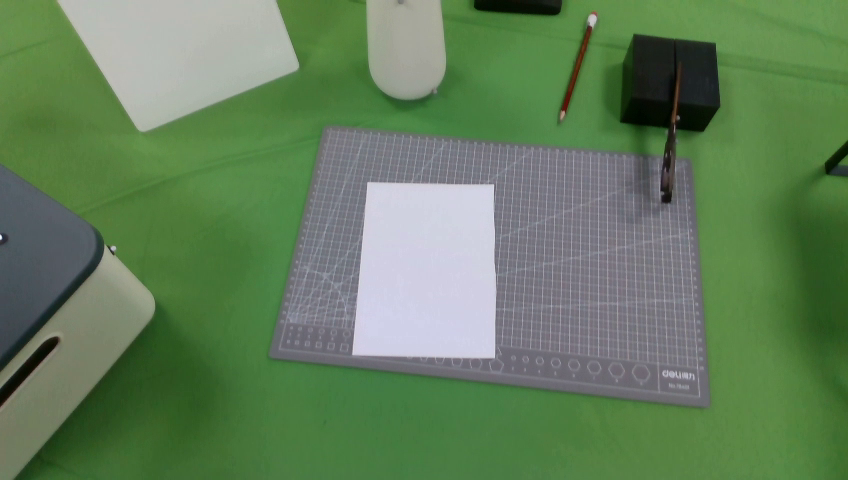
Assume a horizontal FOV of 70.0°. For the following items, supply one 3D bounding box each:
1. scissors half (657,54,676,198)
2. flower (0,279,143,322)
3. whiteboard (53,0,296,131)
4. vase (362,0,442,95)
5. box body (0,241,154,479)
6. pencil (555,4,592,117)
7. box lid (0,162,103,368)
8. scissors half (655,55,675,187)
[{"bbox_3d":[0.285,-0.134,0.704,0.012,0.040,0.175,4,83,28],"label":"scissors half"},{"bbox_3d":[-0.474,0.074,0.641,0.361,0.038,0.044,-4,96,5],"label":"flower"},{"bbox_3d":[-0.317,-0.325,0.705,0.217,0.308,0.142,-26,48,-11],"label":"whiteboard"},{"bbox_3d":[-0.029,-0.262,0.699,0.098,0.201,0.097,-1,63,2],"label":"vase"},{"bbox_3d":[-0.486,0.042,0.579,0.362,0.161,0.253,29,69,13],"label":"box body"},{"bbox_3d":[0.194,-0.236,0.790,0.012,0.012,0.193,17,67,9],"label":"pencil"},{"bbox_3d":[-0.489,0.009,0.512,0.370,0.015,0.262,29,68,13],"label":"box lid"},{"bbox_3d":[0.277,-0.140,0.687,0.013,0.040,0.174,5,66,23],"label":"scissors half"}]
